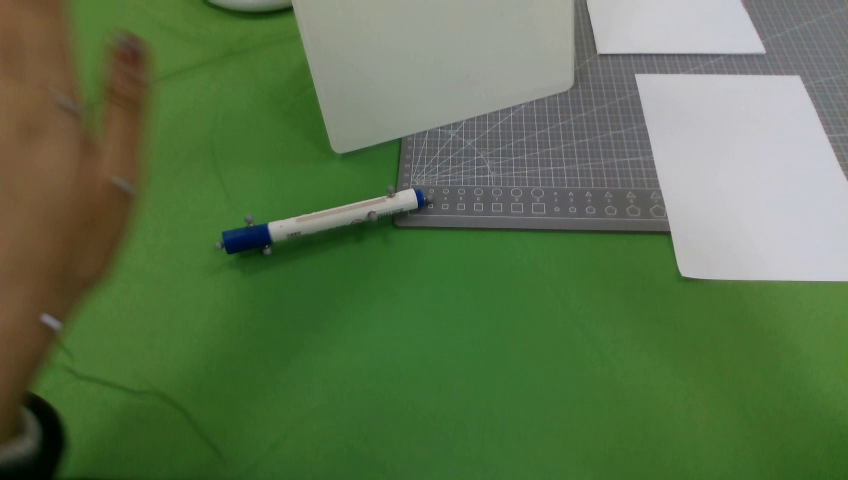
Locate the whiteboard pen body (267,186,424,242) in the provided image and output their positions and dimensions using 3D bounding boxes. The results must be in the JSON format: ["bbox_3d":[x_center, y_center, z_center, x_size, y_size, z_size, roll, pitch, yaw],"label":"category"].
[{"bbox_3d":[-0.068,-0.016,0.440,0.141,0.017,0.017,-14,56,-10],"label":"whiteboard pen body"}]

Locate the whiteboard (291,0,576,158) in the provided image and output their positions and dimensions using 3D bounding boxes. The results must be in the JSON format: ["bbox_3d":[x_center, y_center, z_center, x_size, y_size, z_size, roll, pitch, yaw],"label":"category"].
[{"bbox_3d":[-0.013,-0.255,0.467,0.217,0.308,0.142,-17,37,-9],"label":"whiteboard"}]

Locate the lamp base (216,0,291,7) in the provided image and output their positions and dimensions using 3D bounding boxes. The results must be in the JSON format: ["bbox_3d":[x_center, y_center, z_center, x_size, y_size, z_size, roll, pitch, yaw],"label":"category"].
[{"bbox_3d":[-0.178,-0.346,0.576,0.177,0.182,0.160,37,64,27],"label":"lamp base"}]

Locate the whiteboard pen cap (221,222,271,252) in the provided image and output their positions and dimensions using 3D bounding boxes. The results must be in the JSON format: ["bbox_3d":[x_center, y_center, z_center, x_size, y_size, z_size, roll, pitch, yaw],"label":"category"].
[{"bbox_3d":[-0.125,-0.003,0.429,0.033,0.018,0.018,-14,56,-13],"label":"whiteboard pen cap"}]
